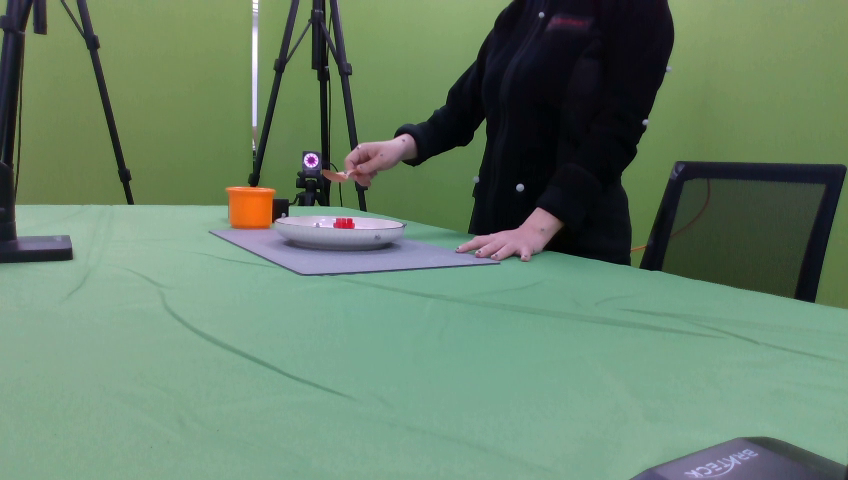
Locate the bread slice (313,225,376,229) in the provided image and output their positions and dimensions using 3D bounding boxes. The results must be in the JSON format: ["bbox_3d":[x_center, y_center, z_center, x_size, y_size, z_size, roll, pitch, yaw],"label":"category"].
[{"bbox_3d":[-0.133,-0.011,0.974,0.135,0.018,0.106,-3,8,-33],"label":"bread slice"}]

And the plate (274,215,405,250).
[{"bbox_3d":[-0.136,-0.013,0.981,0.209,0.038,0.209,2,7,0],"label":"plate"}]

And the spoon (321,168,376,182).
[{"bbox_3d":[-0.127,-0.121,1.086,0.041,0.021,0.194,12,14,18],"label":"spoon"}]
